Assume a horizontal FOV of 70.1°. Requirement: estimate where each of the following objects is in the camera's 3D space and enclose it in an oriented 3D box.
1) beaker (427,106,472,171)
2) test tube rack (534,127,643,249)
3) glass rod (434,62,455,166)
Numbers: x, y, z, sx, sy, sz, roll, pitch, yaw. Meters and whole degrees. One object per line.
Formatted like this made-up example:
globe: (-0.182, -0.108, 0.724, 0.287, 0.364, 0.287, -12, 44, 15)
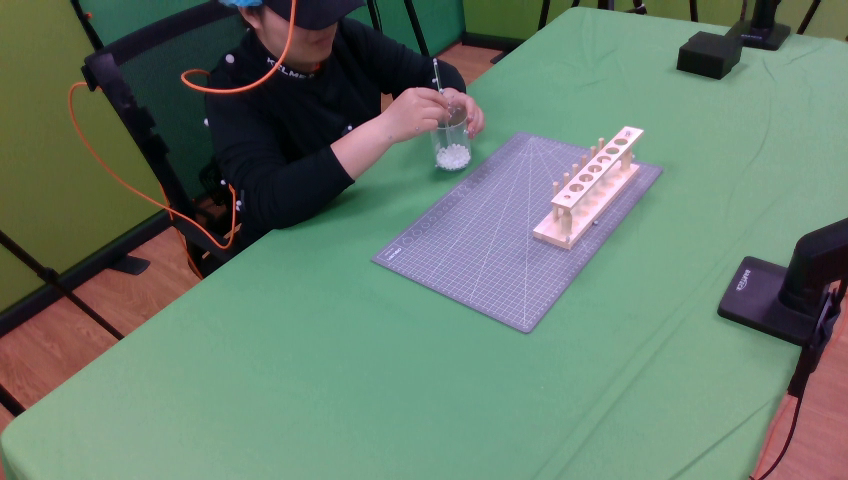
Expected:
beaker: (0.051, -0.187, 1.118, 0.073, 0.101, 0.084, 6, 45, 19)
test tube rack: (0.271, -0.094, 0.990, 0.066, 0.085, 0.243, 23, 50, 34)
glass rod: (0.036, -0.218, 1.073, 0.008, 0.200, 0.008, -8, 36, 6)
